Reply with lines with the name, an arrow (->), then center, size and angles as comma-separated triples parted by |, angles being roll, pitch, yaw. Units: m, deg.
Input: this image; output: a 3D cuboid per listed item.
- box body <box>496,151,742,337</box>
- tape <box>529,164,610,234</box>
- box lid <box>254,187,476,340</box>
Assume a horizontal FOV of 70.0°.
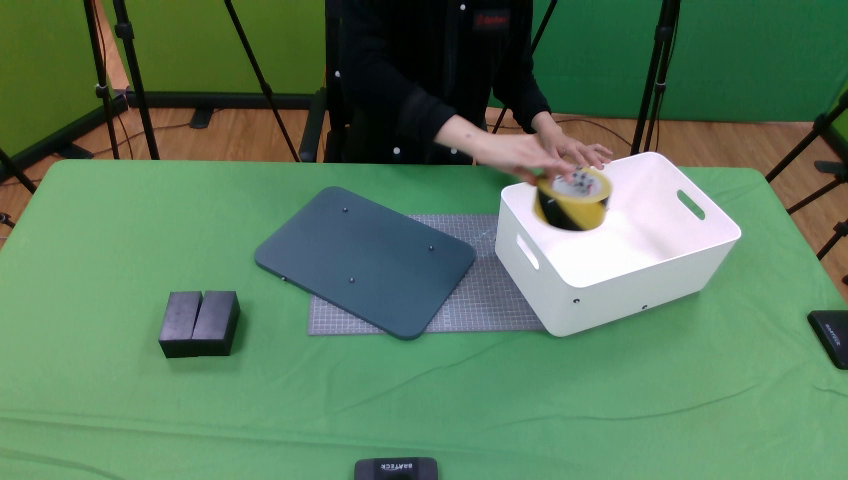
box body -> 0.340, 0.003, 1.118 | 0.364, 0.161, 0.252 | -15, 49, -18
tape -> 0.216, -0.063, 0.905 | 0.117, 0.053, 0.116 | 1, 37, 0
box lid -> -0.112, 0.028, 1.168 | 0.370, 0.015, 0.262 | 24, 49, 19
